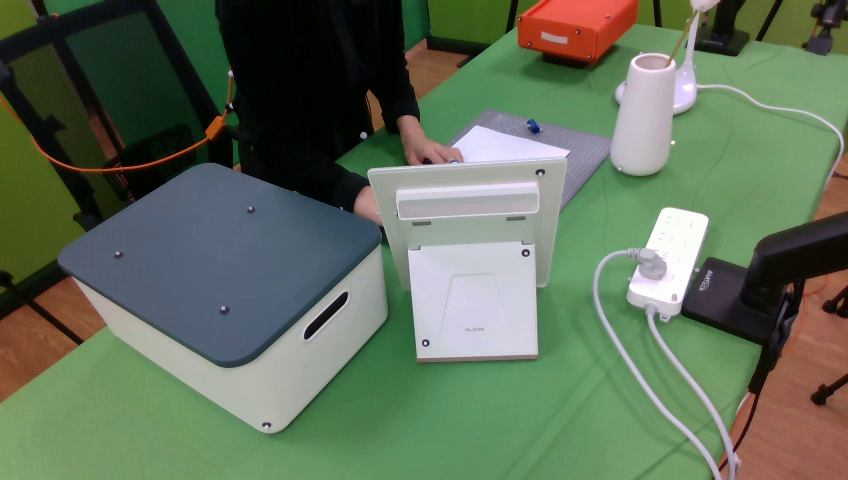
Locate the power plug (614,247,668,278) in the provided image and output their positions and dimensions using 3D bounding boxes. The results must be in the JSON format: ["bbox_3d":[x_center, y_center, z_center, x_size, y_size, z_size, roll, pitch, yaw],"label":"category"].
[{"bbox_3d":[0.306,0.031,0.851,0.072,0.053,0.035,24,49,33],"label":"power plug"}]

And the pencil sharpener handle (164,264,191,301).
[{"bbox_3d":[-0.354,0.055,0.866,0.036,0.068,0.030,-17,39,-29],"label":"pencil sharpener handle"}]

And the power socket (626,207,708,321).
[{"bbox_3d":[0.359,0.025,0.886,0.072,0.033,0.227,16,46,26],"label":"power socket"}]

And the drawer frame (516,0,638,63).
[{"bbox_3d":[0.355,-0.508,1.410,0.200,0.083,0.214,23,51,32],"label":"drawer frame"}]

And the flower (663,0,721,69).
[{"bbox_3d":[0.379,-0.261,0.965,0.044,0.362,0.038,20,53,5],"label":"flower"}]

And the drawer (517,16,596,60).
[{"bbox_3d":[0.352,-0.506,1.405,0.193,0.073,0.212,23,49,32],"label":"drawer"}]

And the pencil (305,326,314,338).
[{"bbox_3d":[-0.187,0.106,0.880,0.012,0.012,0.192,-27,41,-22],"label":"pencil"}]

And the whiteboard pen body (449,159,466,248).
[{"bbox_3d":[0.047,-0.051,0.833,0.017,0.017,0.140,-5,62,2],"label":"whiteboard pen body"}]

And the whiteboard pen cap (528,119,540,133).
[{"bbox_3d":[0.221,-0.229,1.211,0.018,0.018,0.033,-13,40,-7],"label":"whiteboard pen cap"}]

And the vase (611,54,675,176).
[{"bbox_3d":[0.377,-0.209,1.031,0.098,0.201,0.097,-3,40,3],"label":"vase"}]

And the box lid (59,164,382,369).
[{"bbox_3d":[-0.263,0.010,0.777,0.368,0.015,0.264,20,47,29],"label":"box lid"}]

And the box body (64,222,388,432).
[{"bbox_3d":[-0.256,0.065,0.827,0.361,0.161,0.255,20,48,29],"label":"box body"}]

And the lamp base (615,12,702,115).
[{"bbox_3d":[0.484,-0.363,1.211,0.180,0.181,0.159,-15,41,-14],"label":"lamp base"}]

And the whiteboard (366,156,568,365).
[{"bbox_3d":[0.059,0.050,0.738,0.217,0.307,0.143,-2,60,6],"label":"whiteboard"}]

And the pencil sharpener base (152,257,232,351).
[{"bbox_3d":[-0.322,0.088,0.841,0.061,0.107,0.076,-27,44,-20],"label":"pencil sharpener base"}]

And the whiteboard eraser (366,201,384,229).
[{"bbox_3d":[-0.037,-0.038,1.006,0.112,0.042,0.055,17,48,25],"label":"whiteboard eraser"}]
